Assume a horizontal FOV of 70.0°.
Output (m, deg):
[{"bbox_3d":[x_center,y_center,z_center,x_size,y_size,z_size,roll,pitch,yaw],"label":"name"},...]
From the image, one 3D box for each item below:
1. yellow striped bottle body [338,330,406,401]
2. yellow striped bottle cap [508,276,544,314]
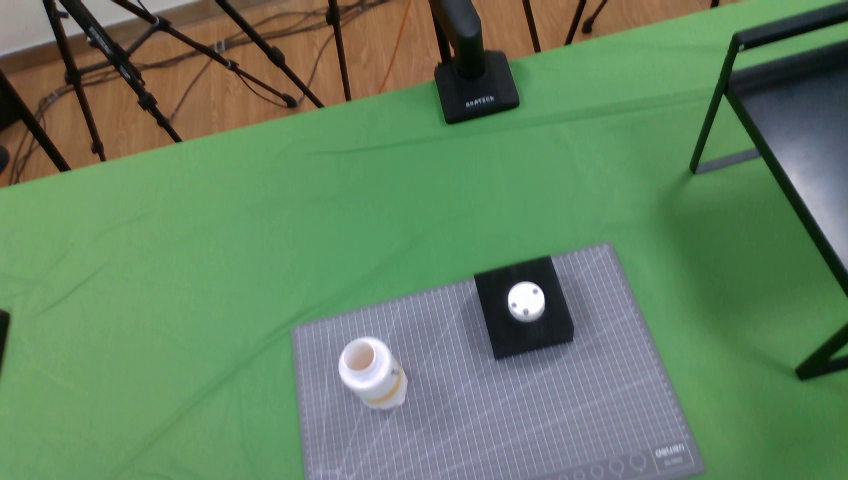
[{"bbox_3d":[-0.063,0.147,0.720,0.063,0.121,0.062,-4,62,8],"label":"yellow striped bottle body"},{"bbox_3d":[0.123,0.067,0.731,0.044,0.019,0.044,-3,64,7],"label":"yellow striped bottle cap"}]
